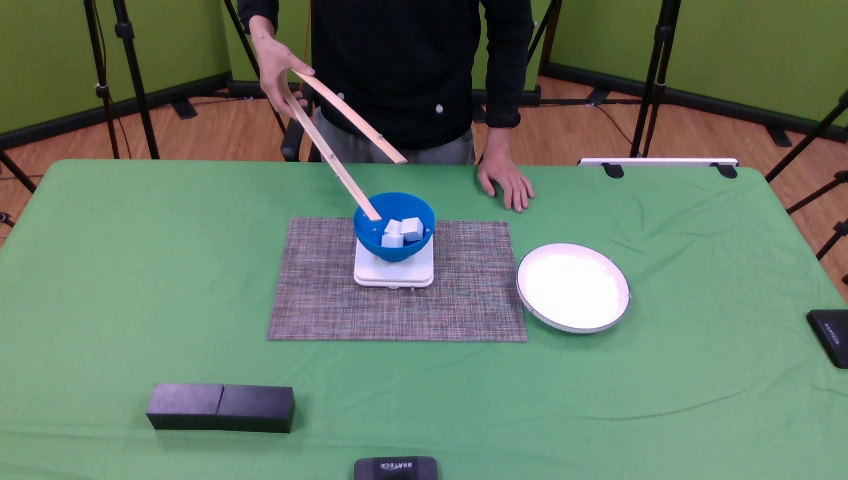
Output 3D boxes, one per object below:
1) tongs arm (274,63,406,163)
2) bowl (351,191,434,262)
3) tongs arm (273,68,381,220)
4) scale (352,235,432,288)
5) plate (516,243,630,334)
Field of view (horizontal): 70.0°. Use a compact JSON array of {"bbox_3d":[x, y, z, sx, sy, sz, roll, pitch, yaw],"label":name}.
[{"bbox_3d":[-0.159,-0.236,1.082,0.028,0.028,0.385,-18,48,-39],"label":"tongs arm"},{"bbox_3d":[-0.058,-0.013,1.119,0.151,0.077,0.150,1,46,-1],"label":"bowl"},{"bbox_3d":[-0.184,-0.186,1.122,0.026,0.051,0.382,-15,56,-41],"label":"tongs arm"},{"bbox_3d":[-0.060,0.010,1.171,0.149,0.032,0.199,2,46,-3],"label":"scale"},{"bbox_3d":[0.271,0.092,1.120,0.208,0.039,0.206,2,46,-2],"label":"plate"}]
